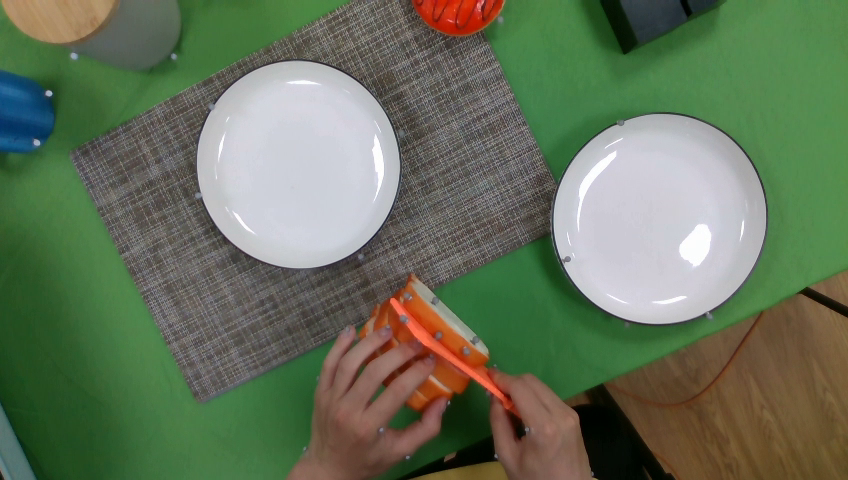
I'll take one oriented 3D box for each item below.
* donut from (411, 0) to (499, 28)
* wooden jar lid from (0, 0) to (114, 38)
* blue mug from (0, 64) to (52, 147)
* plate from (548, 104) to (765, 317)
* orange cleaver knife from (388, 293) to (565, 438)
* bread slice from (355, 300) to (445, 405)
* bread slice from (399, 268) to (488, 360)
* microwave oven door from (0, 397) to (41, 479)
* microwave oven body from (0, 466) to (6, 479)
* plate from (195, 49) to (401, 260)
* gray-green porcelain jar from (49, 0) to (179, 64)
[{"bbox_3d":[0.030,-0.257,0.589,0.099,0.048,0.099,0,96,3],"label":"donut"},{"bbox_3d":[-0.307,-0.224,0.510,0.108,0.020,0.108,0,94,4],"label":"wooden jar lid"},{"bbox_3d":[-0.451,-0.125,0.599,0.082,0.106,0.116,38,96,0],"label":"blue mug"},{"bbox_3d":[0.227,-0.028,0.607,0.209,0.038,0.209,0,95,3],"label":"plate"},{"bbox_3d":[0.050,0.115,0.553,0.213,0.076,0.012,40,91,-23],"label":"orange cleaver knife"},{"bbox_3d":[-0.024,0.109,0.585,0.105,0.131,0.019,43,97,-1],"label":"bread slice"},{"bbox_3d":[0.019,0.073,0.581,0.107,0.134,0.018,41,91,-5],"label":"bread slice"},{"bbox_3d":[-0.473,0.205,0.544,0.039,0.243,0.356,-23,93,5],"label":"microwave oven door"},{"bbox_3d":[-0.624,0.222,0.558,0.326,0.260,0.442,-23,94,4],"label":"microwave oven body"},{"bbox_3d":[-0.125,-0.084,0.616,0.207,0.039,0.208,0,95,3],"label":"plate"},{"bbox_3d":[-0.303,-0.228,0.572,0.106,0.126,0.106,0,94,3],"label":"gray-green porcelain jar"}]
